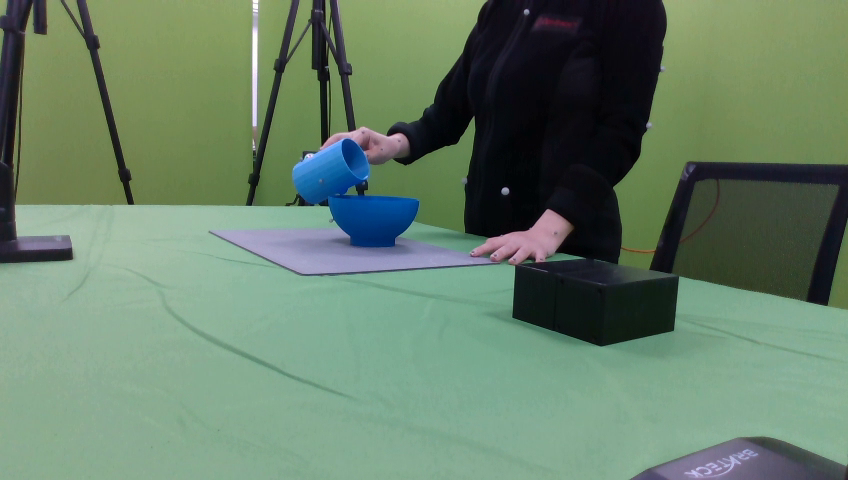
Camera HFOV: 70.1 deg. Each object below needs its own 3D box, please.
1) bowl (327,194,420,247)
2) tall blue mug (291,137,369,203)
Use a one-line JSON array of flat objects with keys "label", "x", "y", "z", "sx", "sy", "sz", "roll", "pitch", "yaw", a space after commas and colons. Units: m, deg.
[{"label": "bowl", "x": -0.083, "y": -0.032, "z": 0.987, "sx": 0.151, "sy": 0.077, "sz": 0.151, "roll": 2, "pitch": 7, "yaw": 0}, {"label": "tall blue mug", "x": -0.157, "y": -0.127, "z": 1.028, "sx": 0.107, "sy": 0.107, "sz": 0.078, "roll": -23, "pitch": -48, "yaw": 25}]
